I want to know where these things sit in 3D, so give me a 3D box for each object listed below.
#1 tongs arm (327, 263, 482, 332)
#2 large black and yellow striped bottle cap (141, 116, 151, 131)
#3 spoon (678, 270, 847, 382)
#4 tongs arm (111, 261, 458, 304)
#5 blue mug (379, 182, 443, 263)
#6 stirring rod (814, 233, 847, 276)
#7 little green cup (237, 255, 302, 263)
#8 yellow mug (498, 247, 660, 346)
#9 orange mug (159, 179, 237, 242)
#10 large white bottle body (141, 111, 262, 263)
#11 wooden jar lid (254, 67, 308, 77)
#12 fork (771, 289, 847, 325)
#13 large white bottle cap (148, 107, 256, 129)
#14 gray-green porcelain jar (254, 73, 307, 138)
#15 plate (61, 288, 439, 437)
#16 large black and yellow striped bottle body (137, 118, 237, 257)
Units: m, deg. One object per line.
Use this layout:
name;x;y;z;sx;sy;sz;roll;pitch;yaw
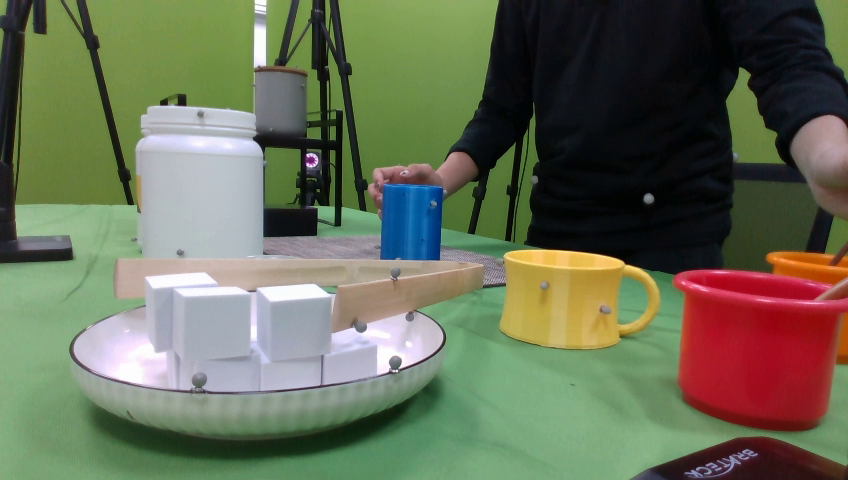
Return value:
tongs arm;-0.003;0.036;0.493;0.050;0.026;0.386;1;0;19
large black and yellow striped bottle cap;-0.328;-0.158;0.837;0.115;0.019;0.115;2;6;0
spoon;0.229;0.031;0.338;0.193;0.021;0.042;-44;-17;27
tongs arm;-0.080;0.032;0.527;0.028;0.027;0.389;-3;-3;33
blue mug;-0.020;-0.025;0.833;0.082;0.106;0.116;1;7;-6
stirring rod;0.364;-0.042;0.468;0.014;0.176;0.006;-1;36;-50
little green cup;-0.150;0.038;0.590;0.061;0.038;0.061;3;6;0
yellow mug;0.130;0.045;0.508;0.131;0.064;0.100;4;6;6
orange mug;-0.368;-0.051;0.991;0.127;0.101;0.083;-10;14;-41
large white bottle body;-0.254;-0.053;0.697;0.131;0.184;0.130;2;7;0
wooden jar lid;-0.296;-0.339;1.251;0.108;0.020;0.108;2;7;0
fork;0.336;0.018;0.443;0.028;0.018;0.207;-2;-35;-21
large white bottle cap;-0.250;-0.137;0.686;0.115;0.018;0.115;3;8;0
gray-green porcelain jar;-0.298;-0.277;1.259;0.106;0.126;0.106;3;7;0
plate;-0.095;0.069;0.362;0.208;0.039;0.207;3;7;0
large black and yellow striped bottle body;-0.330;-0.075;0.849;0.131;0.184;0.130;2;8;0
